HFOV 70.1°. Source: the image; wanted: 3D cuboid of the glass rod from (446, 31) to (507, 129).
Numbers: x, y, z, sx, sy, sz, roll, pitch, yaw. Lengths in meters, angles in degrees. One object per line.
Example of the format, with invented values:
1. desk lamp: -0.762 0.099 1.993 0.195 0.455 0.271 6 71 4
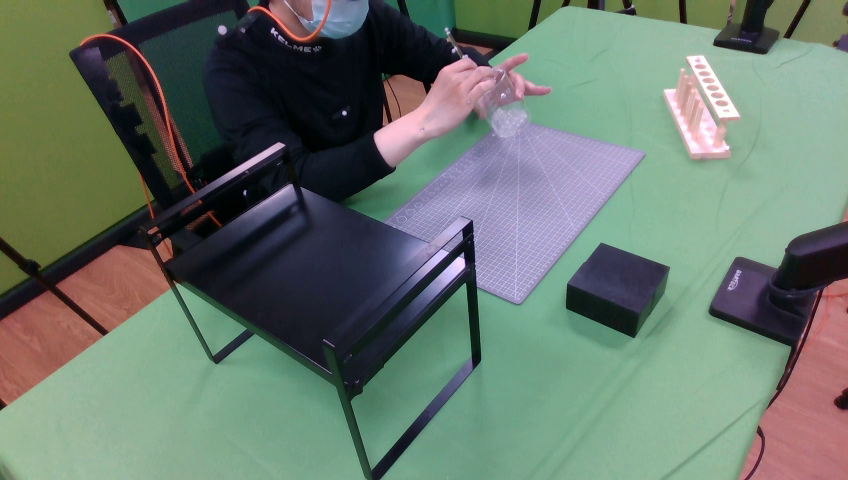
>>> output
1. glass rod: 0.091 -0.266 1.020 0.008 0.201 0.008 -27 31 19

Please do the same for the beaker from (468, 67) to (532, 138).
1. beaker: 0.135 -0.234 1.037 0.084 0.101 0.073 -51 31 -18

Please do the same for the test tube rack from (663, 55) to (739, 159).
1. test tube rack: 0.517 -0.256 1.144 0.066 0.085 0.241 -1 41 8
